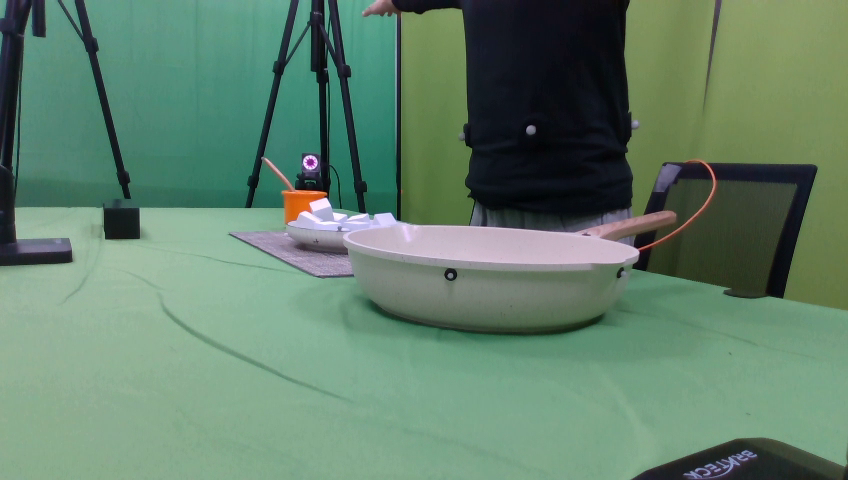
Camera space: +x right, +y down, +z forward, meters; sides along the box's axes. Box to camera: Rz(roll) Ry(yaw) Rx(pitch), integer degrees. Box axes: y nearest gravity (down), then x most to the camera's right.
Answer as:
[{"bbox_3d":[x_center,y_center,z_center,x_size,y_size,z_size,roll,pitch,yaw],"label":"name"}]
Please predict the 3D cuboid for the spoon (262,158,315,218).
[{"bbox_3d":[-0.276,-0.103,1.251,0.021,0.193,0.042,-42,-15,21],"label":"spoon"}]

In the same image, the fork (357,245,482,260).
[{"bbox_3d":[0.000,0.017,0.867,0.208,0.018,0.028,-4,-1,-33],"label":"fork"}]

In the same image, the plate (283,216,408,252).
[{"bbox_3d":[-0.119,-0.009,0.968,0.208,0.039,0.207,2,7,0],"label":"plate"}]

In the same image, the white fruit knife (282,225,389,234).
[{"bbox_3d":[-0.162,-0.018,1.120,0.208,0.016,0.027,-3,5,-34],"label":"white fruit knife"}]

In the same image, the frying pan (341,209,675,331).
[{"bbox_3d":[0.144,0.008,0.677,0.490,0.102,0.305,-13,16,-36],"label":"frying pan"}]
